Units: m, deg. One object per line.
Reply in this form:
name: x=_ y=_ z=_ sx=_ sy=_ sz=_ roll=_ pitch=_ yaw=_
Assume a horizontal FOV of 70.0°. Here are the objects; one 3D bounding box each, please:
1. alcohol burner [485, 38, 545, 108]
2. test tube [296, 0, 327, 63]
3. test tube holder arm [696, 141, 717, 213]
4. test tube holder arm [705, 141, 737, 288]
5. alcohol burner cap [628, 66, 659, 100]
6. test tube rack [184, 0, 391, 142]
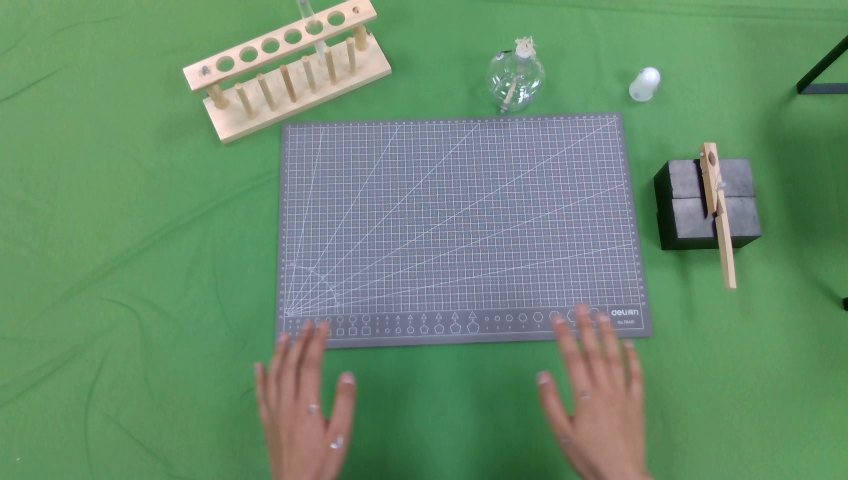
alcohol burner: x=0.117 y=-0.218 z=0.763 sx=0.078 sy=0.119 sz=0.077 roll=0 pitch=75 yaw=-1
test tube: x=-0.138 y=-0.270 z=0.736 sx=0.017 sy=0.151 sz=0.017 roll=-3 pitch=64 yaw=7
test tube holder arm: x=0.339 y=-0.075 z=0.724 sx=0.010 sy=0.015 sz=0.087 roll=-3 pitch=76 yaw=-2
test tube holder arm: x=0.347 y=-0.032 z=0.713 sx=0.013 sy=0.015 sz=0.177 roll=-4 pitch=76 yaw=-3
alcohol burner cap: x=0.292 y=-0.210 z=0.800 sx=0.034 sy=0.048 sz=0.033 roll=0 pitch=73 yaw=1
test tube rack: x=-0.167 y=-0.219 z=0.774 sx=0.242 sy=0.085 sz=0.066 roll=-26 pitch=75 yaw=-8
